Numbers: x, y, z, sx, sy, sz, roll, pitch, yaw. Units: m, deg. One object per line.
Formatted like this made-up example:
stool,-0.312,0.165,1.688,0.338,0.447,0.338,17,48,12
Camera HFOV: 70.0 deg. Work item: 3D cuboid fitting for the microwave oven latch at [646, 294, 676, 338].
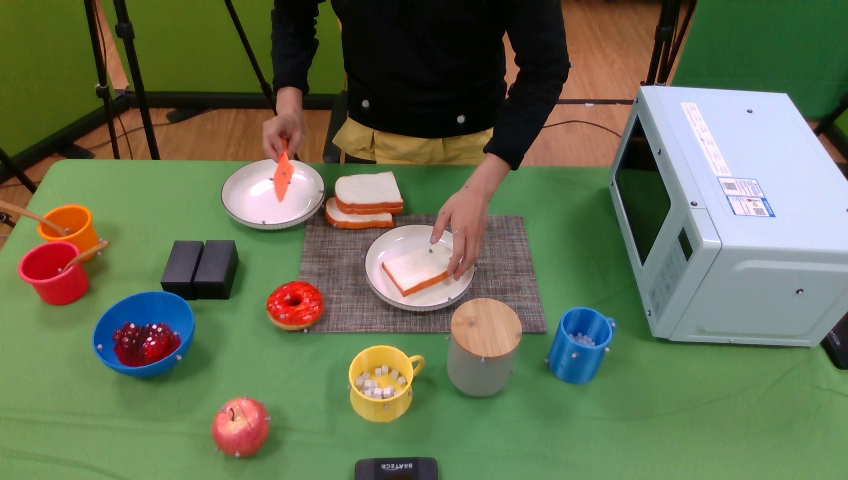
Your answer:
microwave oven latch,0.413,0.133,1.061,0.030,0.029,0.078,3,46,1

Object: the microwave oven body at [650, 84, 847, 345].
microwave oven body,0.569,-0.054,1.116,0.326,0.261,0.439,2,46,-1

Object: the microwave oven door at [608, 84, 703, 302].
microwave oven door,0.424,-0.096,1.138,0.039,0.245,0.353,2,47,-1

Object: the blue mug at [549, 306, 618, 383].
blue mug,0.269,0.167,0.997,0.116,0.106,0.082,-19,51,-21

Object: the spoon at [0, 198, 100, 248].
spoon,-0.684,-0.035,1.091,0.021,0.195,0.041,-34,41,26

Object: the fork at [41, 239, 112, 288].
fork,-0.591,0.040,1.028,0.207,0.019,0.028,-27,37,29

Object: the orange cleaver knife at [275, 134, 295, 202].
orange cleaver knife,-0.262,-0.137,1.121,0.012,0.077,0.210,17,23,-25

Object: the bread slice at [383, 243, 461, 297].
bread slice,-0.001,0.047,1.122,0.131,0.019,0.104,-24,38,-16

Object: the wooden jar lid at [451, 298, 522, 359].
wooden jar lid,0.093,0.135,0.914,0.108,0.021,0.107,3,48,-3

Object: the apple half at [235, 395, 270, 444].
apple half,-0.245,0.260,0.893,0.033,0.082,0.081,-29,55,-22

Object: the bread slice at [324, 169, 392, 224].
bread slice,-0.137,-0.086,1.221,0.134,0.018,0.106,-19,49,5

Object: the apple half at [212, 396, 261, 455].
apple half,-0.276,0.276,0.877,0.053,0.075,0.080,-29,58,-21

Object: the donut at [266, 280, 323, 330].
donut,-0.223,0.112,1.051,0.099,0.048,0.098,2,46,-2

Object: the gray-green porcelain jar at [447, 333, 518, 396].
gray-green porcelain jar,0.091,0.178,0.960,0.106,0.127,0.105,2,46,-2

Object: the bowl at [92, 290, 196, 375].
bowl,-0.436,0.161,0.971,0.151,0.077,0.150,2,46,-2

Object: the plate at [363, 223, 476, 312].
plate,-0.009,0.054,1.126,0.208,0.039,0.206,2,46,-2

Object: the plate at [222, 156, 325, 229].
plate,-0.308,-0.095,1.251,0.209,0.038,0.208,3,46,-3

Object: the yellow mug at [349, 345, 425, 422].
yellow mug,-0.054,0.217,0.954,0.131,0.064,0.099,-23,52,-25
